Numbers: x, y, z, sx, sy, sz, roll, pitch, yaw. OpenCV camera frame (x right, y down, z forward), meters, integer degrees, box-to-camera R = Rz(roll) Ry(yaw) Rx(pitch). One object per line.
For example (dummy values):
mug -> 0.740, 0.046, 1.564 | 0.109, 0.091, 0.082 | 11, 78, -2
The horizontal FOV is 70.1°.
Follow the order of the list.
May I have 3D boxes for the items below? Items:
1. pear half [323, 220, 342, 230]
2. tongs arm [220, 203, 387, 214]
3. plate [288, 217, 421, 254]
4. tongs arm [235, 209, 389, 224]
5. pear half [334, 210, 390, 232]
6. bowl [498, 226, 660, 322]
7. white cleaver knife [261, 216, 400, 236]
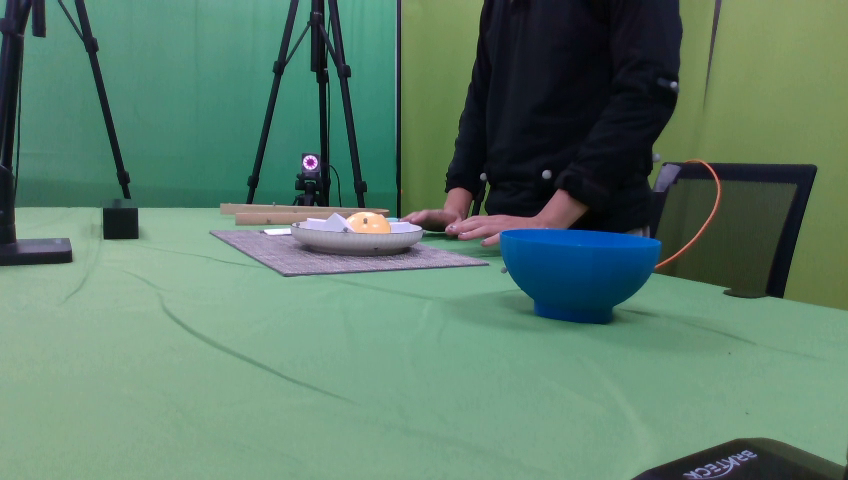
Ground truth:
pear half -> -0.127, -0.019, 1.001 | 0.088, 0.031, 0.070 | 8, 4, 1
tongs arm -> -0.271, -0.068, 1.415 | 0.387, 0.026, 0.050 | 0, 8, -26
plate -> -0.109, -0.007, 0.956 | 0.208, 0.039, 0.207 | 2, 7, 0
tongs arm -> -0.232, -0.054, 1.347 | 0.390, 0.028, 0.028 | -3, 6, -38
pear half -> -0.108, -0.017, 0.920 | 0.110, 0.056, 0.076 | -4, 5, -20
bowl -> 0.145, 0.032, 0.583 | 0.151, 0.077, 0.151 | 2, 7, 0
white cleaver knife -> -0.169, -0.022, 1.156 | 0.288, 0.021, 0.065 | -7, 18, -33
